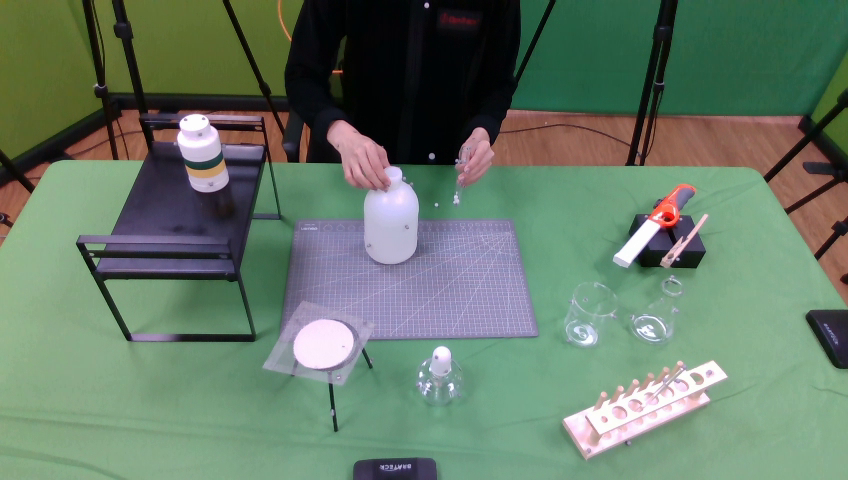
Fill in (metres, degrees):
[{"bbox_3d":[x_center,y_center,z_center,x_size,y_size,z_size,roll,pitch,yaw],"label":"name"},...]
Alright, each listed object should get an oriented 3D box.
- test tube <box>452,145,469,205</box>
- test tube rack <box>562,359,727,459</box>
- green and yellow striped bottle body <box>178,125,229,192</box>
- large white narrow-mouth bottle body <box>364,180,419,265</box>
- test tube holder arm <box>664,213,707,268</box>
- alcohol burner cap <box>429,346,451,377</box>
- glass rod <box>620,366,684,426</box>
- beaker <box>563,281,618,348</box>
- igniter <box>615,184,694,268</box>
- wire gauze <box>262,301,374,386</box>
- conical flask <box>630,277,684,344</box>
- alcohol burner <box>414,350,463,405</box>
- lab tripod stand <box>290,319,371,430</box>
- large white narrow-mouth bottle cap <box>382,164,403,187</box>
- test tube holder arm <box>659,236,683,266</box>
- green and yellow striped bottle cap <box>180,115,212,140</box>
[{"bbox_3d":[0.066,-0.117,1.122,0.017,0.151,0.017,2,53,-3],"label":"test tube"},{"bbox_3d":[0.341,0.247,0.940,0.243,0.085,0.066,-16,49,-18],"label":"test tube rack"},{"bbox_3d":[-0.361,-0.142,0.989,0.063,0.120,0.063,2,46,-2],"label":"green and yellow striped bottle body"},{"bbox_3d":[-0.061,-0.050,1.119,0.102,0.195,0.101,2,44,-2],"label":"large white narrow-mouth bottle body"},{"bbox_3d":[0.507,-0.001,1.171,0.013,0.015,0.178,34,54,26],"label":"test tube holder arm"},{"bbox_3d":[0.026,0.180,0.912,0.034,0.048,0.033,1,47,-1],"label":"alcohol burner cap"},{"bbox_3d":[0.323,0.227,0.866,0.008,0.200,0.008,5,51,-7],"label":"glass rod"},{"bbox_3d":[0.283,0.129,1.041,0.074,0.101,0.083,11,46,7],"label":"beaker"},{"bbox_3d":[0.459,-0.035,1.197,0.057,0.025,0.276,32,55,27],"label":"igniter"},{"bbox_3d":[-0.150,0.148,0.873,0.121,0.011,0.124,14,46,12],"label":"wire gauze"},{"bbox_3d":[0.408,0.117,1.045,0.075,0.122,0.075,2,46,-2],"label":"conical flask"},{"bbox_3d":[0.023,0.205,0.939,0.078,0.120,0.077,1,48,-1],"label":"alcohol burner"},{"bbox_3d":[-0.146,0.194,0.923,0.148,0.132,0.147,1,47,-1],"label":"lab tripod stand"},{"bbox_3d":[-0.055,-0.113,1.059,0.038,0.024,0.037,2,44,-2],"label":"large white narrow-mouth bottle cap"},{"bbox_3d":[0.472,0.020,1.149,0.010,0.015,0.088,35,54,27],"label":"test tube holder arm"},{"bbox_3d":[-0.358,-0.177,0.951,0.045,0.020,0.045,2,45,-1],"label":"green and yellow striped bottle cap"}]
